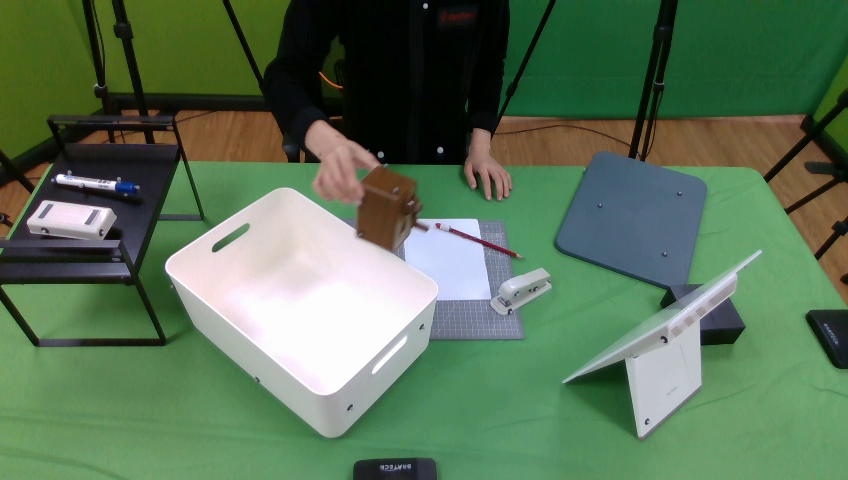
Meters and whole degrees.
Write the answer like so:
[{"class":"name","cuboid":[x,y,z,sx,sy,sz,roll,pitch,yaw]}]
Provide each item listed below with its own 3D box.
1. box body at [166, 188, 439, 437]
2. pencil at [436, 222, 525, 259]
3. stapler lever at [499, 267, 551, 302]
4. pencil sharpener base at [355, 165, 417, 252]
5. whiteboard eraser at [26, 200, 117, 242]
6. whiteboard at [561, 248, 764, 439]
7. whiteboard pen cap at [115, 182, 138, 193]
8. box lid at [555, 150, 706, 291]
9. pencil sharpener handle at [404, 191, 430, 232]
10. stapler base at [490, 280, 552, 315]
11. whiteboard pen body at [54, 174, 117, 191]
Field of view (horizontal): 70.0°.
[{"class":"box body","cuboid":[-0.190,0.108,0.980,0.362,0.161,0.254,32,52,24]},{"class":"pencil","cuboid":[0.112,0.001,1.210,0.193,0.012,0.012,22,49,14]},{"class":"stapler lever","cuboid":[0.185,0.076,1.101,0.118,0.040,0.026,-25,57,-29]},{"class":"pencil sharpener base","cuboid":[-0.055,-0.045,0.903,0.076,0.107,0.061,22,42,17]},{"class":"whiteboard eraser","cuboid":[-0.532,-0.026,0.919,0.113,0.042,0.055,7,45,3]},{"class":"whiteboard","cuboid":[0.386,0.176,0.905,0.217,0.306,0.143,-26,72,-27]},{"class":"whiteboard pen cap","cuboid":[-0.483,-0.086,0.984,0.033,0.018,0.018,7,46,10]},{"class":"box lid","cuboid":[0.451,-0.059,1.297,0.263,0.015,0.370,20,48,15]},{"class":"pencil sharpener handle","cuboid":[-0.007,-0.039,0.883,0.030,0.068,0.036,22,56,17]},{"class":"stapler base","cuboid":[0.181,0.094,1.118,0.130,0.024,0.041,-24,57,-29]},{"class":"whiteboard pen body","cuboid":[-0.541,-0.093,0.993,0.140,0.017,0.017,7,46,9]}]
